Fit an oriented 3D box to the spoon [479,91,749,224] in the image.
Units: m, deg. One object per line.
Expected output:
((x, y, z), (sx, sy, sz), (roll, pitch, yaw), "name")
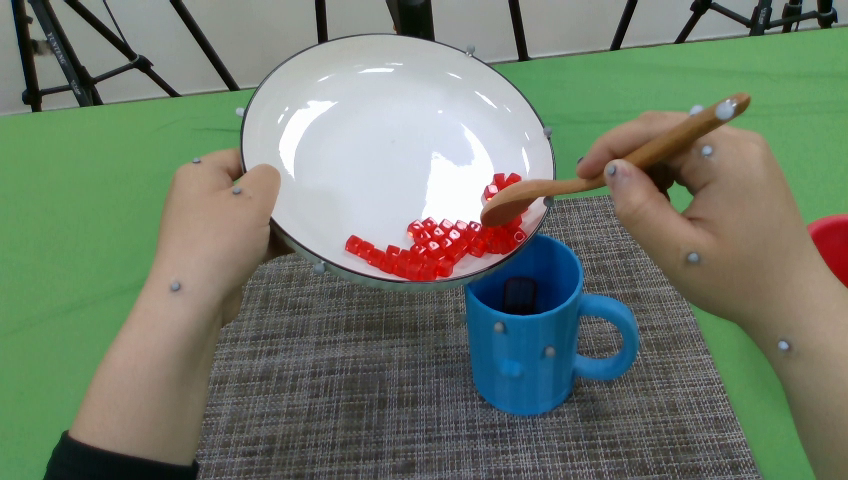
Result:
((0.082, -0.033, 0.308), (0.042, 0.021, 0.193), (-15, -1, -25), "spoon")

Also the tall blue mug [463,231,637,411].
((0.083, 0.055, 0.418), (0.107, 0.109, 0.077), (-10, 43, -1), "tall blue mug")

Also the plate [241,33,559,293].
((-0.014, -0.054, 0.410), (0.208, 0.039, 0.205), (5, 59, -8), "plate")
